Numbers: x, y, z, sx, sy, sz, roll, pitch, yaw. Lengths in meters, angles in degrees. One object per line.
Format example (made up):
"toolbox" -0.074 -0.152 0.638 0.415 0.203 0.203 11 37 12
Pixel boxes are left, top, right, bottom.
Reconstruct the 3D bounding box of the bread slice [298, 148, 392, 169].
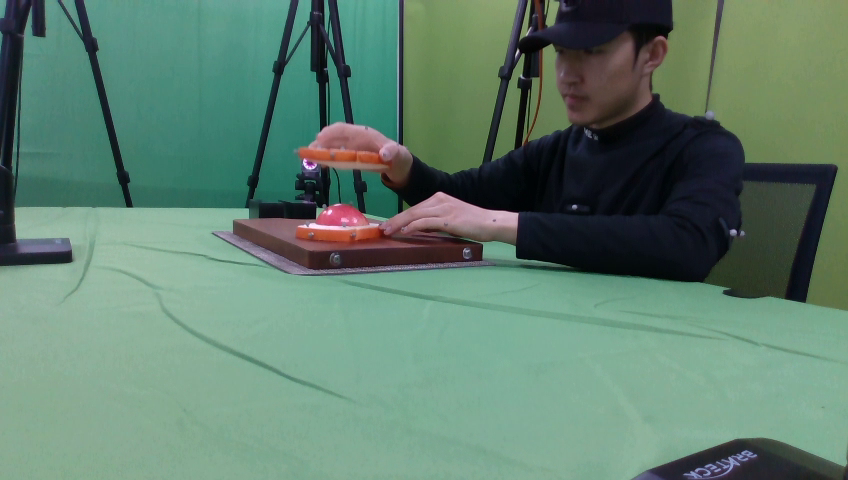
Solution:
"bread slice" -0.119 -0.120 0.891 0.106 0.018 0.135 6 5 19

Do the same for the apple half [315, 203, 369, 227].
"apple half" -0.120 -0.038 0.901 0.081 0.033 0.081 1 7 0

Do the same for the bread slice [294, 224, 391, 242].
"bread slice" -0.123 -0.014 0.890 0.104 0.019 0.132 4 6 23
